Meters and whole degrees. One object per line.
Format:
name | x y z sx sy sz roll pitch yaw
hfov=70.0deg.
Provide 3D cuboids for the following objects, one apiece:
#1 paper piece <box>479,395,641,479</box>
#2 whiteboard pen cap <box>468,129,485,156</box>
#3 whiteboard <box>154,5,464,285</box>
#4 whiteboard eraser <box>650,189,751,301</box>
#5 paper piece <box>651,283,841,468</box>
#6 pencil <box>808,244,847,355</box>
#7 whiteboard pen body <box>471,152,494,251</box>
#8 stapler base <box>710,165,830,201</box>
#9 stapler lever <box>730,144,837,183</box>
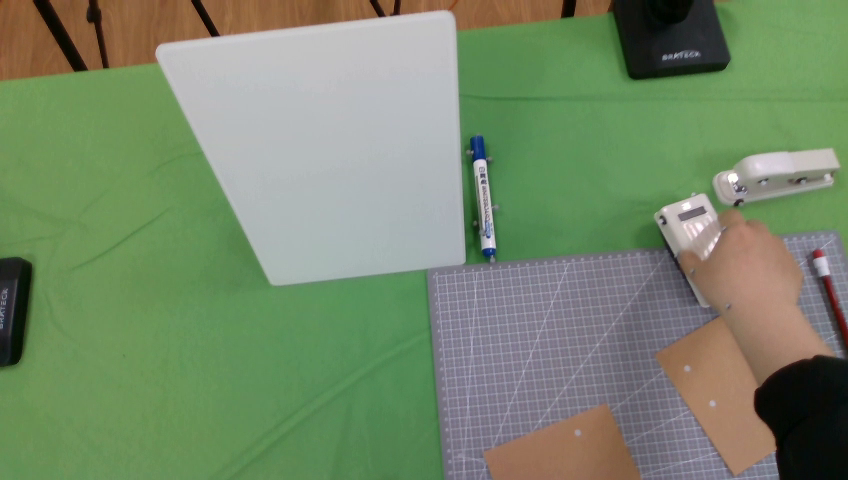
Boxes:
paper piece | 0.140 0.237 0.585 0.135 0.004 0.135 -20 73 -6
whiteboard pen cap | 0.062 -0.111 0.702 0.018 0.018 0.033 -7 69 0
whiteboard | -0.079 -0.111 0.590 0.217 0.308 0.142 -5 52 1
whiteboard eraser | 0.288 0.005 0.638 0.055 0.042 0.112 -20 72 -4
paper piece | 0.324 0.134 0.612 0.136 0.009 0.137 -28 74 -3
pencil | 0.429 0.095 0.619 0.012 0.012 0.193 -9 73 0
whiteboard pen body | 0.065 -0.056 0.684 0.017 0.017 0.140 -5 71 1
stapler base | 0.388 -0.076 0.674 0.130 0.024 0.041 -11 74 -3
stapler lever | 0.389 -0.084 0.652 0.118 0.040 0.026 -11 74 -2
